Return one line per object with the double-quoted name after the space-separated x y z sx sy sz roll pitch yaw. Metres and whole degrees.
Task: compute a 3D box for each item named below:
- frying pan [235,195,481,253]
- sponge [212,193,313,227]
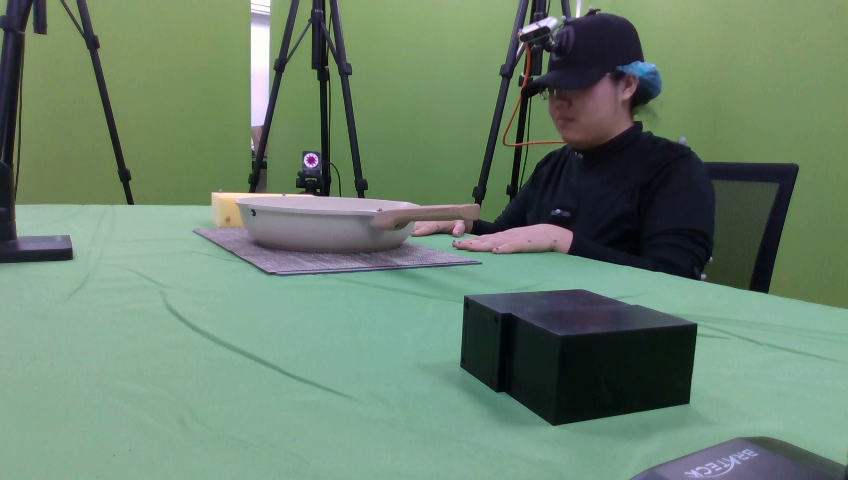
-0.089 -0.033 0.891 0.308 0.102 0.485 -4 2 -36 "frying pan"
-0.317 -0.062 1.233 0.208 0.061 0.117 -2 8 -27 "sponge"
